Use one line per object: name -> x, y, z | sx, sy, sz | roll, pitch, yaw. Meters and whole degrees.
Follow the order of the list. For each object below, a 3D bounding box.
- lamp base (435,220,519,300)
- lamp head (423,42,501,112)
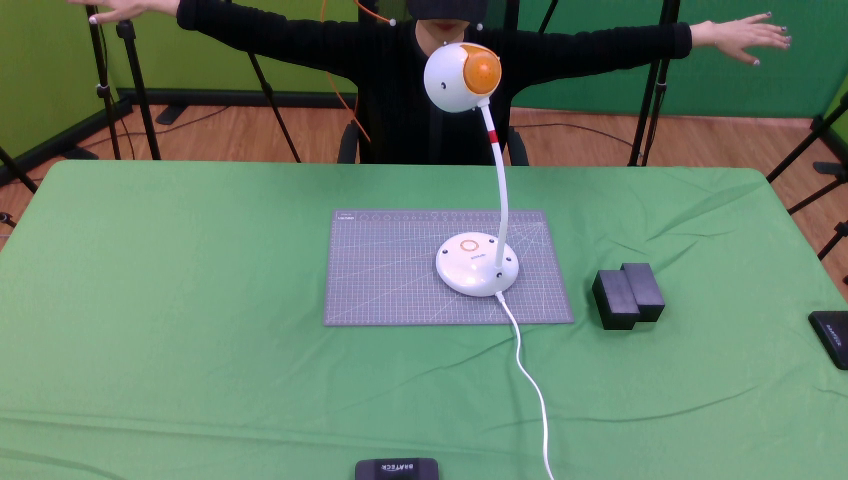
lamp base -> 0.112, -0.002, 1.096 | 0.161, 0.181, 0.178 | -22, 54, -23
lamp head -> 0.071, -0.258, 0.962 | 0.112, 0.113, 0.122 | -16, 19, -18
